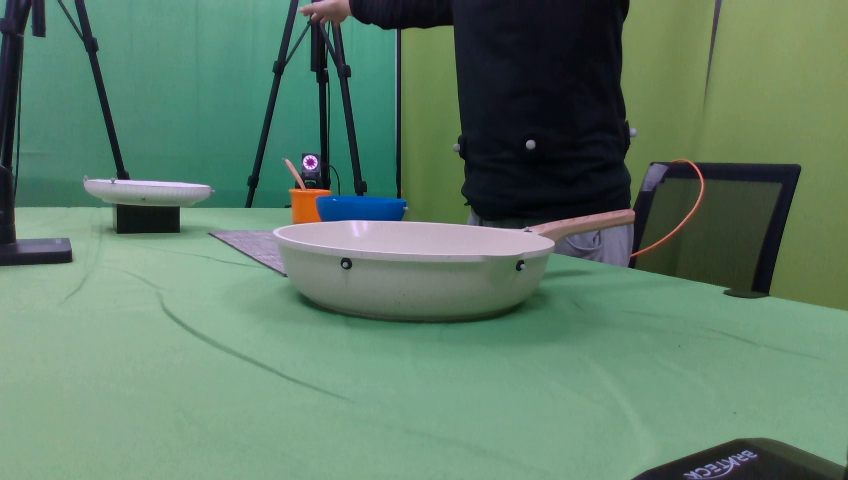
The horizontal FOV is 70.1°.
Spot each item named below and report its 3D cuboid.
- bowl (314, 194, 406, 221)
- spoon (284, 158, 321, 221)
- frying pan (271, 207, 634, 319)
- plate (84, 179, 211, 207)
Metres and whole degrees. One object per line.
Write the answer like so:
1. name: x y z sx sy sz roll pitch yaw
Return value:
1. bowl: -0.105 -0.032 0.991 0.151 0.077 0.151 3 7 0
2. spoon: -0.269 -0.113 1.335 0.042 0.193 0.021 -3 -35 -43
3. frying pan: 0.076 0.003 0.695 0.490 0.102 0.305 -12 14 -30
4. plate: -0.495 -0.085 1.093 0.208 0.039 0.207 4 7 0
